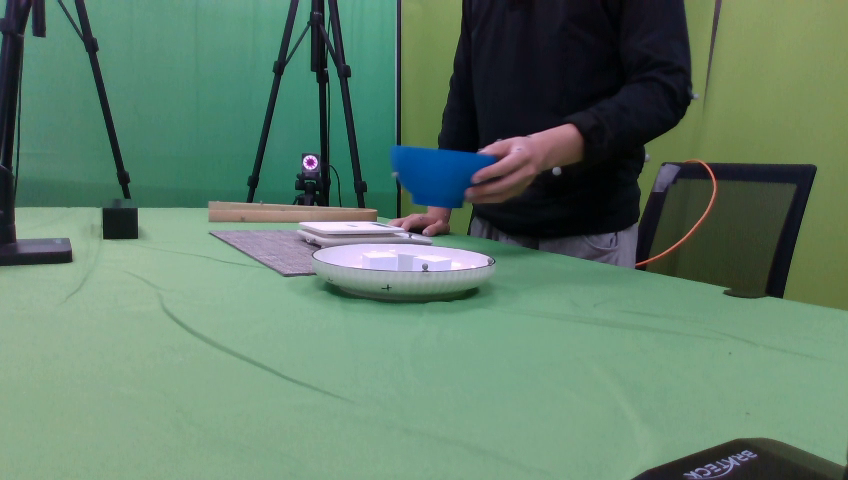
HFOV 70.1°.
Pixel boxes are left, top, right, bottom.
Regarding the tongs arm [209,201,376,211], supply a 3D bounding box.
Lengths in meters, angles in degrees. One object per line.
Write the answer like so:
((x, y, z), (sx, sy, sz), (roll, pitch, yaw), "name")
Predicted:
((-0.306, -0.070, 1.429), (0.386, 0.026, 0.050), (1, 8, -15), "tongs arm")

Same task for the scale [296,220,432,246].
((-0.101, -0.012, 1.017), (0.202, 0.031, 0.148), (-1, 8, -30), "scale")

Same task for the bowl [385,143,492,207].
((0.017, -0.089, 0.848), (0.151, 0.077, 0.151), (6, 7, 0), "bowl")

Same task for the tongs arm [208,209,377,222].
((-0.280, -0.055, 1.354), (0.389, 0.028, 0.028), (-1, 6, -28), "tongs arm")

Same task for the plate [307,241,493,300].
((-0.027, 0.034, 0.684), (0.208, 0.039, 0.207), (2, 7, 0), "plate")
